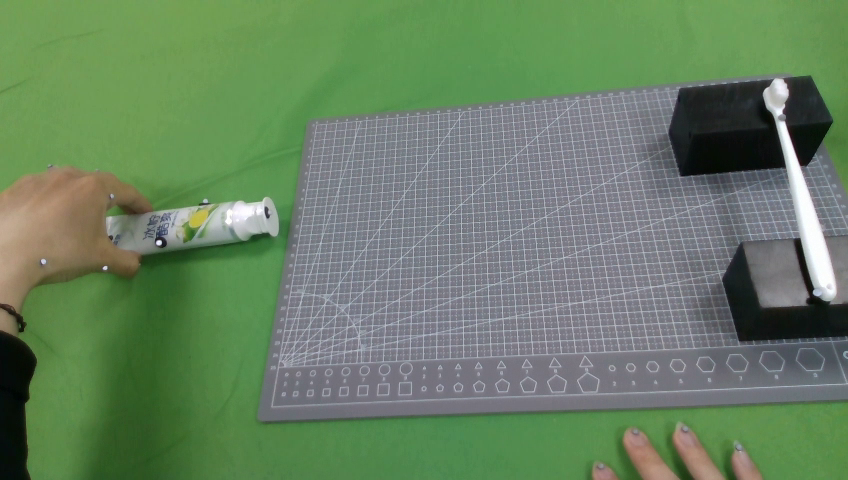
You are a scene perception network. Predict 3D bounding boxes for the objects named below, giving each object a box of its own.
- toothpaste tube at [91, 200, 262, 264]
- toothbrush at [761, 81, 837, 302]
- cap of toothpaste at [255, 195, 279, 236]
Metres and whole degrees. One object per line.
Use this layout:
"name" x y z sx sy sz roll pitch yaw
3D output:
"toothpaste tube" -0.213 -0.012 0.533 0.165 0.035 0.054 -7 50 10
"toothbrush" 0.256 -0.041 0.414 0.014 0.017 0.180 7 59 -1
"cap of toothpaste" -0.135 -0.021 0.518 0.011 0.038 0.037 -11 55 3
